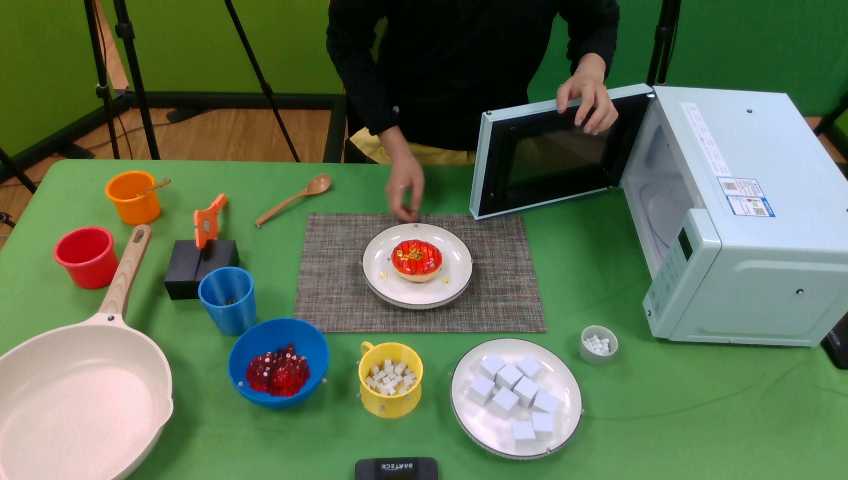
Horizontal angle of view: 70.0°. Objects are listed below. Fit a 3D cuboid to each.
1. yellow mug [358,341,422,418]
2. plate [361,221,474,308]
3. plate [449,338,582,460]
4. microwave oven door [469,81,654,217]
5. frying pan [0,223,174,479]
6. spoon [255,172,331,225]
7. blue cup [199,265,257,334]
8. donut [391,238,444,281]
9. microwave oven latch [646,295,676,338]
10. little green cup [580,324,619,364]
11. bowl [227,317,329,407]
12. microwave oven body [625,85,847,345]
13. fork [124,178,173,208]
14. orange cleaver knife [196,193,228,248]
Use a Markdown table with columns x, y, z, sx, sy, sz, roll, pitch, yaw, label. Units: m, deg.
| x | y | z | sx | sy | sz | roll | pitch | yaw | label |
| --- | --- | --- | --- | --- | --- | --- | --- | --- | --- |
| -0.063 | 0.210 | 0.961 | 0.100 | 0.064 | 0.130 | -29 | 54 | -28 | yellow mug |
| -0.011 | 0.049 | 1.130 | 0.209 | 0.038 | 0.208 | 2 | 46 | -2 | plate |
| 0.141 | 0.251 | 0.955 | 0.208 | 0.039 | 0.206 | 2 | 46 | -2 | plate |
| 0.270 | -0.180 | 1.208 | 0.356 | 0.245 | 0.039 | -14 | 49 | -16 | microwave oven door |
| -0.505 | 0.169 | 0.941 | 0.307 | 0.103 | 0.485 | 5 | 54 | -1 | frying pan |
| -0.272 | -0.087 | 1.256 | 0.041 | 0.022 | 0.193 | 43 | 57 | 17 | spoon |
| -0.320 | 0.106 | 1.015 | 0.093 | 0.101 | 0.092 | 2 | 48 | -2 | blue cup |
| -0.012 | 0.035 | 1.128 | 0.099 | 0.048 | 0.098 | 3 | 43 | -3 | donut |
| 0.412 | 0.133 | 1.060 | 0.030 | 0.029 | 0.078 | 3 | 46 | 0 | microwave oven latch |
| 0.296 | 0.179 | 1.031 | 0.061 | 0.039 | 0.061 | 2 | 45 | -2 | little green cup |
| -0.222 | 0.203 | 0.947 | 0.151 | 0.077 | 0.150 | 2 | 46 | -2 | bowl |
| 0.568 | -0.054 | 1.116 | 0.326 | 0.261 | 0.439 | 2 | 46 | -1 | microwave oven body |
| -0.525 | -0.090 | 1.153 | 0.207 | 0.019 | 0.028 | -17 | 27 | 45 | fork |
| -0.406 | -0.041 | 1.163 | 0.012 | 0.077 | 0.210 | 0 | 18 | -4 | orange cleaver knife |
